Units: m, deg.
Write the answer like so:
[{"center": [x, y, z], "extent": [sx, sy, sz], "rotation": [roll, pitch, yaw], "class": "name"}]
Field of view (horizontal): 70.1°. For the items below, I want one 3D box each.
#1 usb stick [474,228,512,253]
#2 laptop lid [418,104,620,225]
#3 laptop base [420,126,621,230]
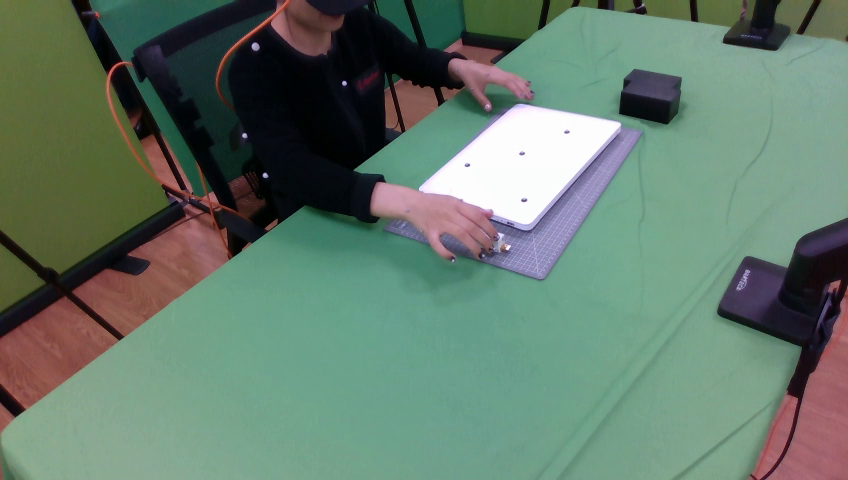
[{"center": [0.110, 0.002, 0.950], "extent": [0.059, 0.027, 0.021], "rotation": [18, 46, 25], "class": "usb stick"}, {"center": [0.181, -0.157, 1.116], "extent": [0.239, 0.013, 0.358], "rotation": [22, 49, 34], "class": "laptop lid"}, {"center": [0.184, -0.147, 1.122], "extent": [0.233, 0.023, 0.355], "rotation": [19, 47, 34], "class": "laptop base"}]
